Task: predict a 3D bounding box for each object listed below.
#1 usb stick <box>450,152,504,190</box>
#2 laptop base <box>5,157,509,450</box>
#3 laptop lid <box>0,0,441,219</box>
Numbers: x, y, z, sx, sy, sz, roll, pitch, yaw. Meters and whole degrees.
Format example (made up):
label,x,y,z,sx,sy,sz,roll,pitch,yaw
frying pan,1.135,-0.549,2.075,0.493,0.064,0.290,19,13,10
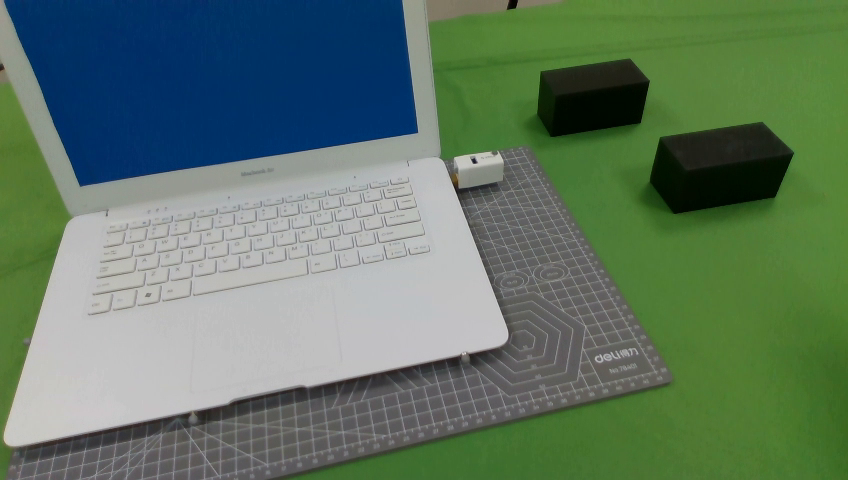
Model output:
label,x,y,z,sx,sy,sz,roll,pitch,yaw
usb stick,0.044,-0.065,0.575,0.059,0.027,0.021,-12,45,-5
laptop base,-0.130,0.033,0.503,0.355,0.023,0.233,-10,47,-7
laptop lid,-0.167,-0.148,0.528,0.357,0.243,0.013,-12,30,-6
